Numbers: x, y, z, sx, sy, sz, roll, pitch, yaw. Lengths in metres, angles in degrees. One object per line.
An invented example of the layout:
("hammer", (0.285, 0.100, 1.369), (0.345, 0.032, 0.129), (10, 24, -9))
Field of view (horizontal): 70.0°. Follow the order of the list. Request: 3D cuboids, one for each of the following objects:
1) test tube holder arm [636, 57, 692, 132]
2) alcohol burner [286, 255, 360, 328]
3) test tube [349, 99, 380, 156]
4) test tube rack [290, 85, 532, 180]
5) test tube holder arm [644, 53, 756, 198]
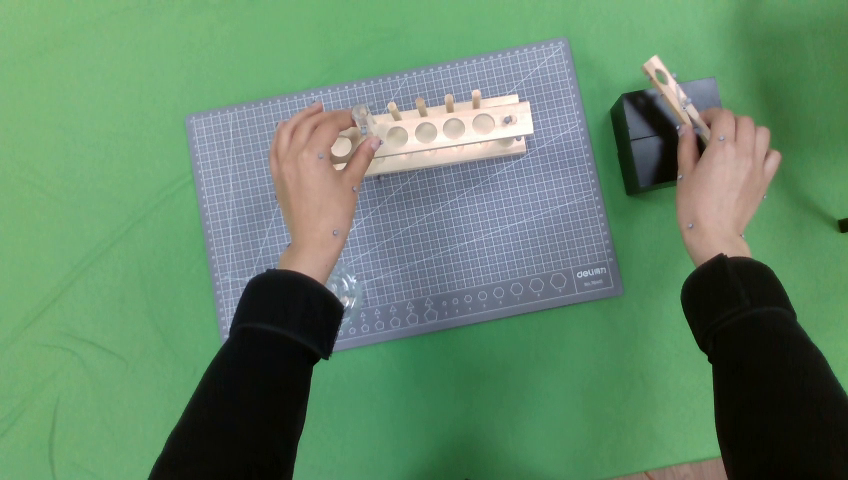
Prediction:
("test tube holder arm", (0.245, -0.146, 0.610), (0.010, 0.015, 0.088), (-38, 91, 11))
("alcohol burner", (-0.107, 0.052, 0.625), (0.078, 0.119, 0.077), (0, 84, 1))
("test tube", (-0.056, -0.108, 0.600), (0.017, 0.150, 0.017), (0, 84, 1))
("test tube rack", (-0.014, -0.122, 0.649), (0.242, 0.085, 0.066), (-8, 85, 1))
("test tube holder arm", (0.277, -0.114, 0.610), (0.013, 0.015, 0.178), (-39, 91, 10))
